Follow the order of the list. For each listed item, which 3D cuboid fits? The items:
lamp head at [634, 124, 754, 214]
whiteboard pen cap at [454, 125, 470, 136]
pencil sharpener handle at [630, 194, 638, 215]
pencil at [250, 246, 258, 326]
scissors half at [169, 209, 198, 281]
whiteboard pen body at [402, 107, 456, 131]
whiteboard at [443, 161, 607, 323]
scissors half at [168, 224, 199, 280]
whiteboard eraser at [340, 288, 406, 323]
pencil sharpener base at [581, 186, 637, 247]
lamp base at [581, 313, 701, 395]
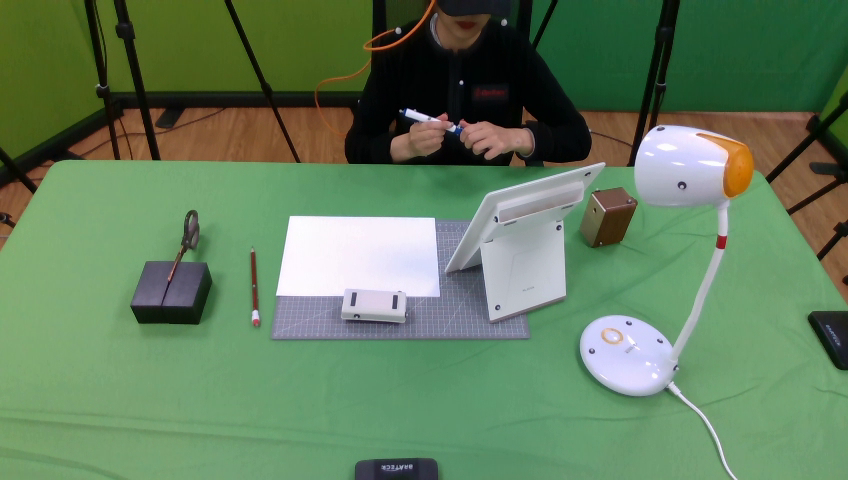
[{"bbox_3d":[0.351,-0.089,0.775,0.112,0.113,0.122,-30,30,-28],"label":"lamp head"},{"bbox_3d":[0.079,-0.232,1.275,0.033,0.018,0.018,17,46,-7],"label":"whiteboard pen cap"},{"bbox_3d":[0.417,-0.068,1.215,0.031,0.068,0.036,-11,60,-15],"label":"pencil sharpener handle"},{"bbox_3d":[-0.312,0.079,1.106,0.012,0.012,0.192,-8,46,-11],"label":"pencil"},{"bbox_3d":[-0.438,0.007,1.099,0.013,0.040,0.174,4,47,-5],"label":"scissors half"},{"bbox_3d":[0.022,-0.249,1.267,0.141,0.017,0.017,17,46,-8],"label":"whiteboard pen body"},{"bbox_3d":[0.185,0.025,1.029,0.217,0.306,0.143,-15,68,-18],"label":"whiteboard"},{"bbox_3d":[-0.441,0.023,1.111,0.013,0.040,0.174,9,29,-8],"label":"scissors half"},{"bbox_3d":[-0.088,0.117,1.060,0.113,0.042,0.055,3,45,-1],"label":"whiteboard eraser"},{"bbox_3d":[0.369,-0.047,1.209,0.077,0.107,0.061,-11,47,-15],"label":"pencil sharpener base"},{"bbox_3d":[0.361,0.144,0.972,0.178,0.181,0.160,34,53,23],"label":"lamp base"}]
